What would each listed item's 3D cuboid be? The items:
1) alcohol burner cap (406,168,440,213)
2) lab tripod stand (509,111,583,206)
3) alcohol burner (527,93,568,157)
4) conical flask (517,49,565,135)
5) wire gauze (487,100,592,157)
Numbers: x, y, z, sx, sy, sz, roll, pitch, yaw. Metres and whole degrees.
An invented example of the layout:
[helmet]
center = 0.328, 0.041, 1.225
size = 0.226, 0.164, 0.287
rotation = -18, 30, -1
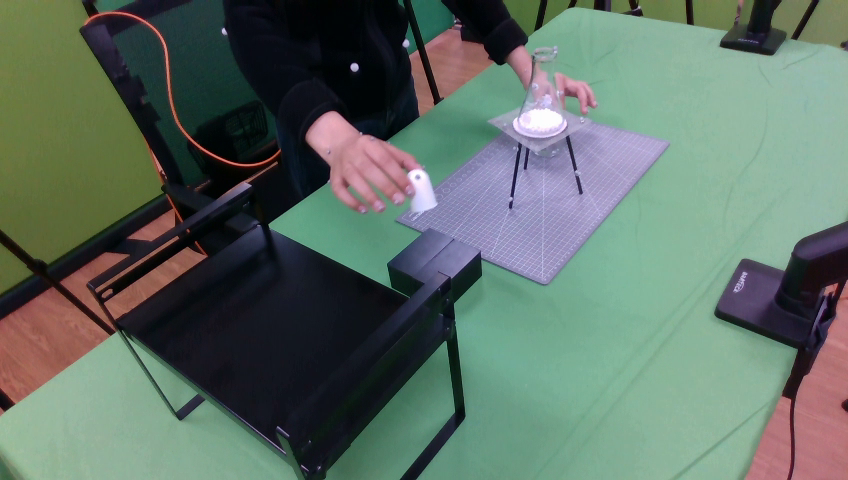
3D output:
[alcohol burner cap]
center = -0.003, -0.057, 0.675
size = 0.034, 0.048, 0.034
rotation = -13, 20, 5
[lab tripod stand]
center = 0.197, -0.139, 1.020
size = 0.148, 0.132, 0.147
rotation = -3, 39, 3
[alcohol burner]
center = 0.228, -0.216, 1.120
size = 0.078, 0.119, 0.077
rotation = -6, 39, 5
[conical flask]
center = 0.183, -0.231, 0.936
size = 0.075, 0.122, 0.075
rotation = -4, 40, 4
[wire gauze]
center = 0.185, -0.187, 0.974
size = 0.122, 0.011, 0.124
rotation = -28, 47, -22
